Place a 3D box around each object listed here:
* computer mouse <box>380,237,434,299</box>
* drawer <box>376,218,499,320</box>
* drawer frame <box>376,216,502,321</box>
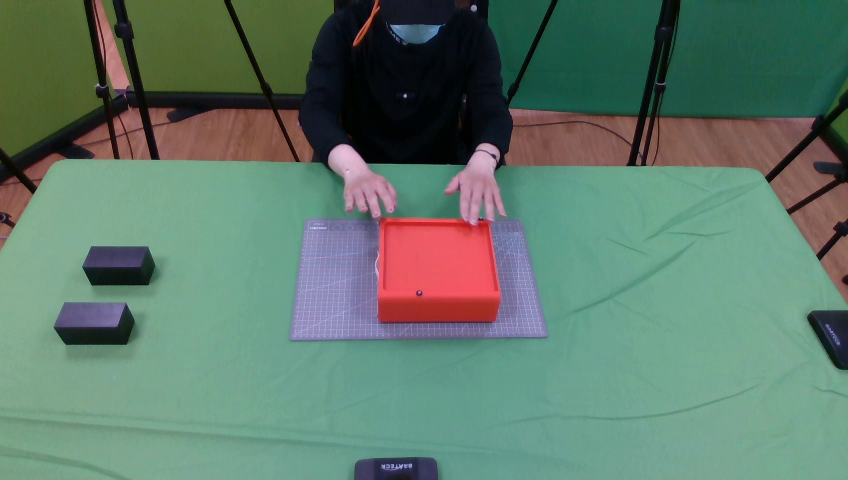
[{"bbox_3d":[-0.029,0.048,1.105,0.063,0.041,0.117,28,63,2],"label":"computer mouse"},{"bbox_3d":[0.019,0.050,1.102,0.212,0.073,0.193,1,46,-3],"label":"drawer"},{"bbox_3d":[0.021,0.049,1.101,0.214,0.083,0.200,1,46,-4],"label":"drawer frame"}]
